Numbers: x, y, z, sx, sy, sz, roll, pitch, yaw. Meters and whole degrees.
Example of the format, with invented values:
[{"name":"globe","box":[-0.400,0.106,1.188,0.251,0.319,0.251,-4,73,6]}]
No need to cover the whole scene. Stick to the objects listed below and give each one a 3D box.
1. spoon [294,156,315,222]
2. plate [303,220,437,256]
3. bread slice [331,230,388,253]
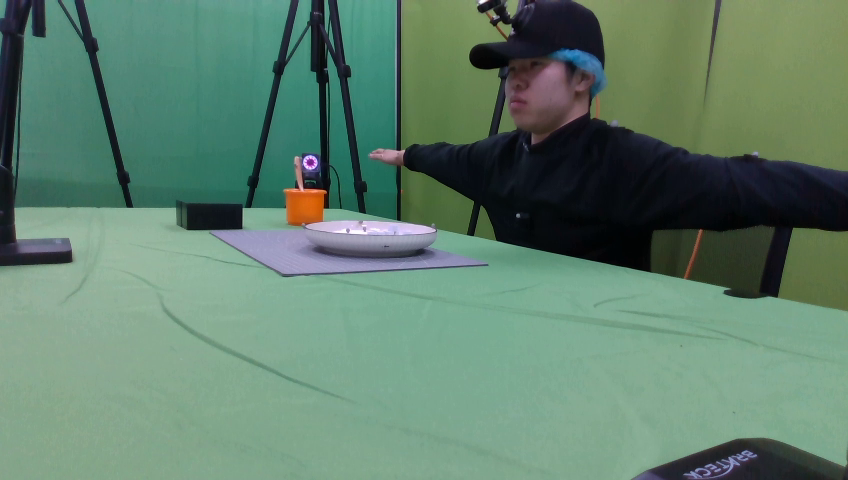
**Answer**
[{"name":"spoon","box":[-0.271,-0.116,1.328,0.042,0.021,0.193,-2,48,-21]},{"name":"plate","box":[-0.084,-0.003,0.951,0.209,0.038,0.209,2,7,0]},{"name":"bread slice","box":[-0.088,0.000,0.947,0.105,0.019,0.131,-4,11,-44]}]
